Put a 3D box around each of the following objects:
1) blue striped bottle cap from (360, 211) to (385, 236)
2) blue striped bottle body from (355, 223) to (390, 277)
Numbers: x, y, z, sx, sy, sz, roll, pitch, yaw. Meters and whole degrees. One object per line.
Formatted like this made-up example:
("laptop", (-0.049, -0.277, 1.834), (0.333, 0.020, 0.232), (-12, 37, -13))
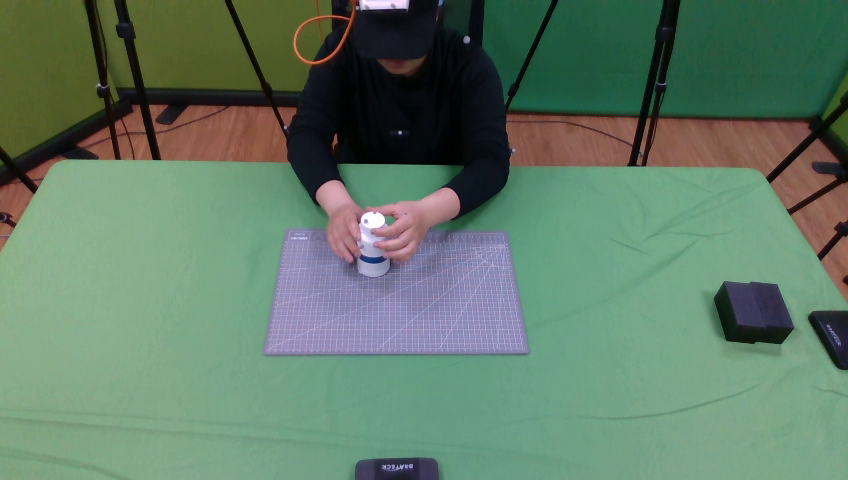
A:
("blue striped bottle cap", (-0.091, -0.030, 1.074), (0.044, 0.021, 0.044), (2, 47, -2))
("blue striped bottle body", (-0.095, 0.008, 1.112), (0.063, 0.121, 0.062), (2, 46, -2))
